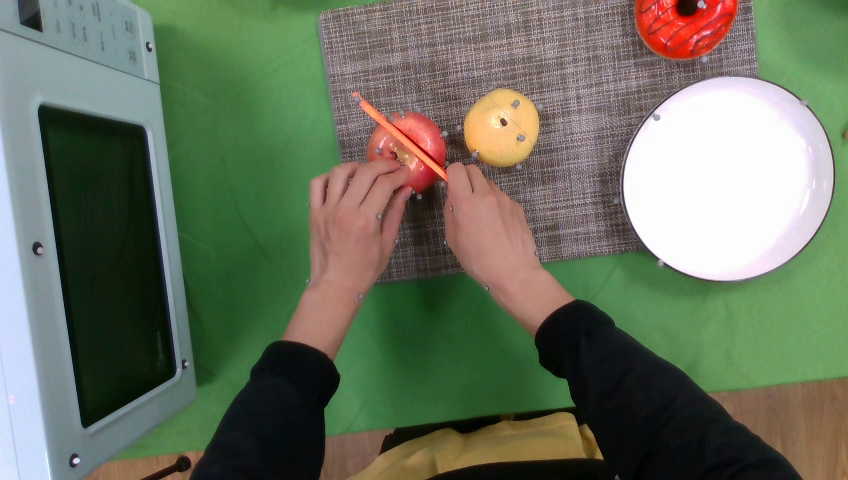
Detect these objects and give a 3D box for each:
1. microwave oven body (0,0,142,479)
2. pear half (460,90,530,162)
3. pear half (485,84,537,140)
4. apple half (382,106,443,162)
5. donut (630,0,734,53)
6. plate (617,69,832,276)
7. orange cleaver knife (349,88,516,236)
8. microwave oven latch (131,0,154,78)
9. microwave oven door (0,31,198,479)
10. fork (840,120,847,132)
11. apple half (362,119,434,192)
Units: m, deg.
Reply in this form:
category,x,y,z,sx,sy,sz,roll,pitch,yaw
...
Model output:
category,x,y,z,sx,sy,sz,roll,pitch,yaw
microwave oven body,-0.451,-0.019,0.581,0.326,0.260,0.442,-5,96,5
pear half,0.067,-0.109,0.604,0.076,0.110,0.056,42,97,5
pear half,0.092,-0.135,0.609,0.070,0.088,0.031,42,97,6
apple half,-0.005,-0.116,0.629,0.081,0.081,0.033,39,94,1
donut,0.257,-0.238,0.608,0.099,0.048,0.099,1,96,8
plate,0.303,-0.068,0.624,0.209,0.038,0.209,0,96,5
orange cleaver knife,0.009,-0.078,0.604,0.212,0.076,0.012,39,98,-17
microwave oven latch,-0.311,-0.215,0.646,0.030,0.029,0.079,-4,96,5
microwave oven door,-0.303,0.012,0.566,0.039,0.243,0.356,-5,95,5
fork,0.506,-0.165,0.577,0.207,0.018,0.028,-35,100,27
apple half,-0.034,-0.081,0.633,0.081,0.074,0.053,43,99,-5
